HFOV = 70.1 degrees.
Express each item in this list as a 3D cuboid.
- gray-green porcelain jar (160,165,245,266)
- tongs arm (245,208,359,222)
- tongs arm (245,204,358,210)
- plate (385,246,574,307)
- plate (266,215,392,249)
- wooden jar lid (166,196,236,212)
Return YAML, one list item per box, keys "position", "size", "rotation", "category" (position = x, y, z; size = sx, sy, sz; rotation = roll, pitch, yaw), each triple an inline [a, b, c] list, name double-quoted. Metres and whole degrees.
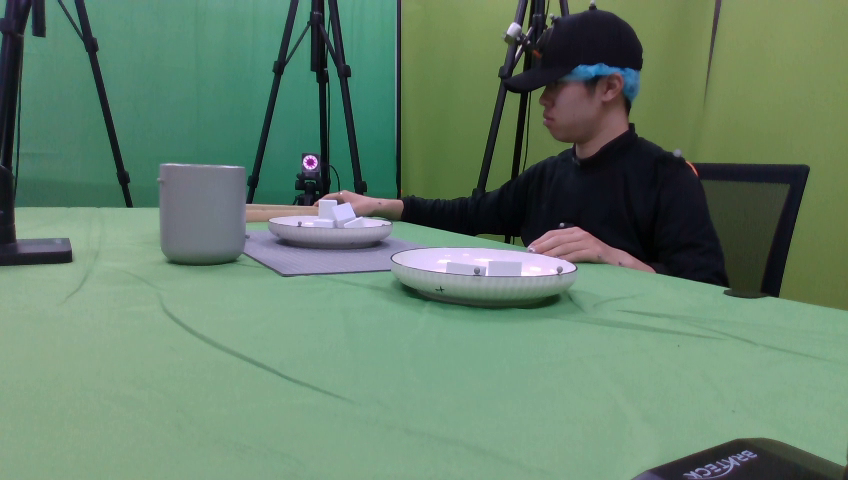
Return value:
- position: [-0.291, -0.034, 0.799]
  size: [0.106, 0.126, 0.106]
  rotation: [2, 8, 0]
  category: "gray-green porcelain jar"
- position: [-0.302, -0.055, 1.342]
  size: [0.390, 0.028, 0.028]
  rotation: [-3, 6, -39]
  category: "tongs arm"
- position: [-0.342, -0.069, 1.409]
  size: [0.387, 0.026, 0.050]
  rotation: [0, 8, -27]
  category: "tongs arm"
- position: [0.060, 0.041, 0.678]
  size: [0.208, 0.039, 0.207]
  rotation: [3, 7, 0]
  category: "plate"
- position: [-0.159, -0.015, 1.019]
  size: [0.209, 0.038, 0.209]
  rotation: [3, 7, 0]
  category: "plate"
- position: [-0.369, -0.059, 1.001]
  size: [0.108, 0.020, 0.108]
  rotation: [3, 6, 0]
  category: "wooden jar lid"
